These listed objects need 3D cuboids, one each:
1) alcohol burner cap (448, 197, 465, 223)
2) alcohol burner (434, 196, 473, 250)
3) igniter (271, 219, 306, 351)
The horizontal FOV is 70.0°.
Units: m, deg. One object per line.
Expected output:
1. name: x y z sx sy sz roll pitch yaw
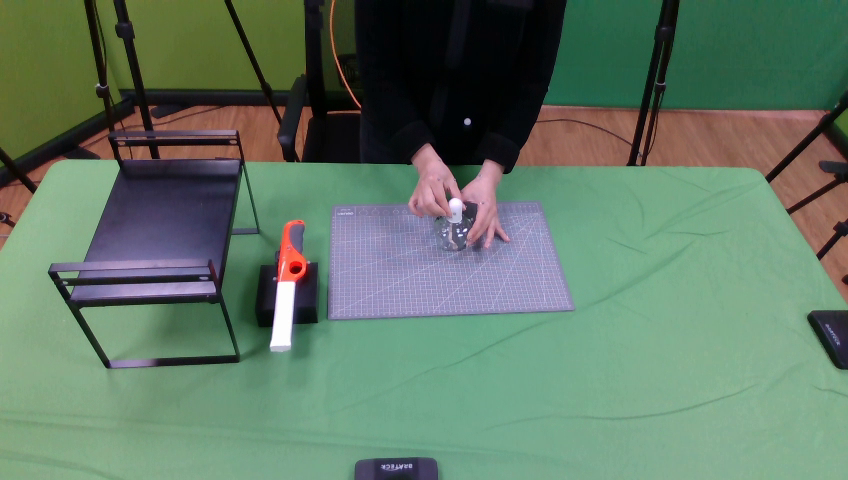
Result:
1. alcohol burner cap: 0.060 -0.060 1.146 0.034 0.048 0.033 -5 44 5
2. alcohol burner: 0.058 -0.038 1.169 0.078 0.119 0.077 2 44 -2
3. igniter: -0.235 0.067 1.047 0.057 0.025 0.274 0 49 -6
